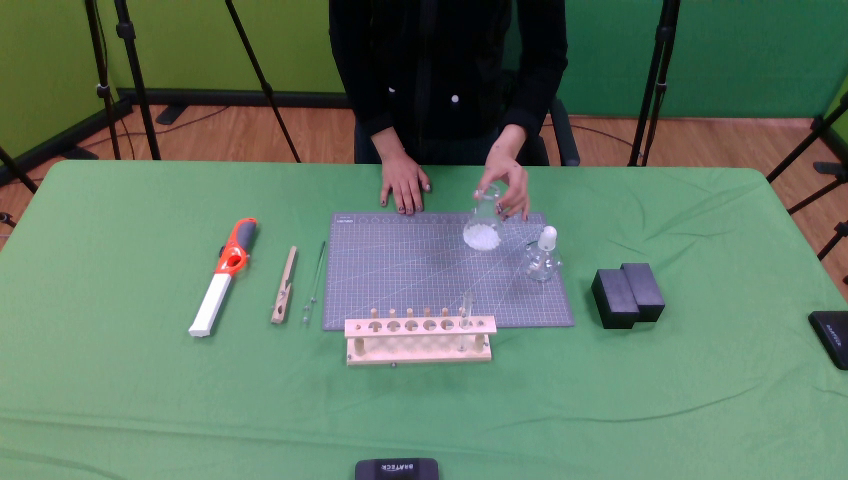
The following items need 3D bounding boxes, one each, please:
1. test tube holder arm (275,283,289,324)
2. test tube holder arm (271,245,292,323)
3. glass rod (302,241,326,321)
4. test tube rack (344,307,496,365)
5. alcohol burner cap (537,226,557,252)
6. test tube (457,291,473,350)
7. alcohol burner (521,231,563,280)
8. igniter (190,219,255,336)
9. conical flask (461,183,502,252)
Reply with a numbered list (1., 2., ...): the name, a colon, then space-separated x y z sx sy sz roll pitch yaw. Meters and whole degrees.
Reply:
1. test tube holder arm: -0.254 0.110 1.077 0.010 0.015 0.087 29 38 -27
2. test tube holder arm: -0.259 0.076 1.106 0.013 0.015 0.177 28 38 -28
3. glass rod: -0.203 0.071 1.124 0.008 0.008 0.198 4 44 1
4. test tube rack: -0.009 0.154 1.007 0.242 0.085 0.066 -1 46 -5
5. alcohol burner cap: 0.226 -0.005 1.104 0.034 0.048 0.033 0 50 1
6. test tube: 0.065 0.132 0.965 0.017 0.151 0.017 1 48 -1
7. alcohol burner: 0.224 0.020 1.131 0.078 0.119 0.077 3 47 -3
8. igniter: -0.365 0.058 1.110 0.057 0.025 0.275 -1 45 8
9. conical flask: 0.105 -0.043 1.056 0.075 0.122 0.075 2 46 -1
